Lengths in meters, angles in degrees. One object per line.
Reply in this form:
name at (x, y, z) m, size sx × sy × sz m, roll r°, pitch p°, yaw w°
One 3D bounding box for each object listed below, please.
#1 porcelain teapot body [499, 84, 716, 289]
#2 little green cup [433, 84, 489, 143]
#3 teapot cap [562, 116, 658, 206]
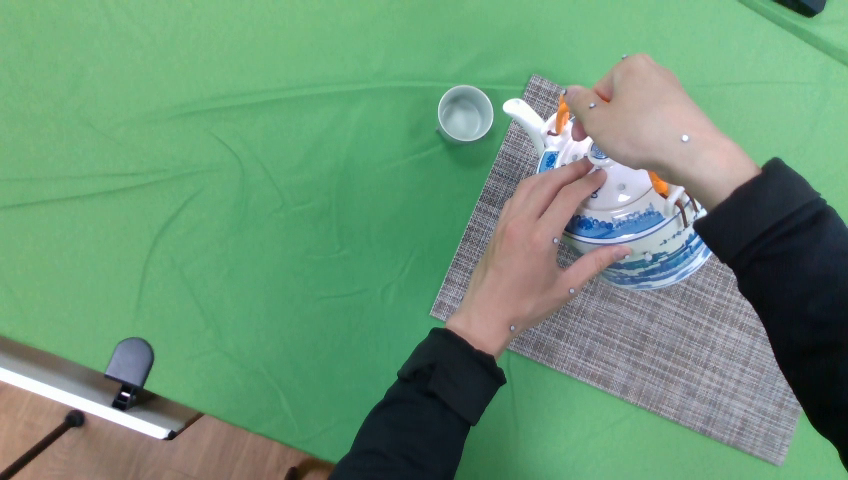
porcelain teapot body at (0.154, -0.066, 0.561) m, size 0.203 × 0.228 × 0.145 m, roll 38°, pitch 91°, yaw 38°
little green cup at (0.038, -0.136, 0.668) m, size 0.062 × 0.038 × 0.061 m, roll 1°, pitch 86°, yaw -7°
teapot cap at (0.154, -0.070, 0.511) m, size 0.085 × 0.044 × 0.084 m, roll -16°, pitch 58°, yaw 27°
